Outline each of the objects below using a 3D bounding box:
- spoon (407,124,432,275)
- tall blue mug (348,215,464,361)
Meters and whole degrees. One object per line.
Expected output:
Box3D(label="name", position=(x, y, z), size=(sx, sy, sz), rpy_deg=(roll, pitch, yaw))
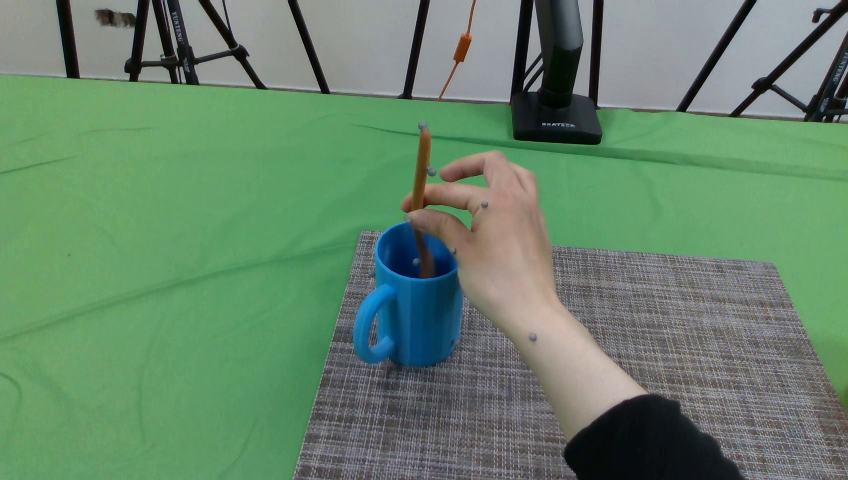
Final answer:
Box3D(label="spoon", position=(-0.005, -0.014, 0.477), size=(0.021, 0.195, 0.041), rpy_deg=(-3, 53, 0))
Box3D(label="tall blue mug", position=(-0.012, 0.053, 0.517), size=(0.077, 0.109, 0.106), rpy_deg=(11, 42, 8))
